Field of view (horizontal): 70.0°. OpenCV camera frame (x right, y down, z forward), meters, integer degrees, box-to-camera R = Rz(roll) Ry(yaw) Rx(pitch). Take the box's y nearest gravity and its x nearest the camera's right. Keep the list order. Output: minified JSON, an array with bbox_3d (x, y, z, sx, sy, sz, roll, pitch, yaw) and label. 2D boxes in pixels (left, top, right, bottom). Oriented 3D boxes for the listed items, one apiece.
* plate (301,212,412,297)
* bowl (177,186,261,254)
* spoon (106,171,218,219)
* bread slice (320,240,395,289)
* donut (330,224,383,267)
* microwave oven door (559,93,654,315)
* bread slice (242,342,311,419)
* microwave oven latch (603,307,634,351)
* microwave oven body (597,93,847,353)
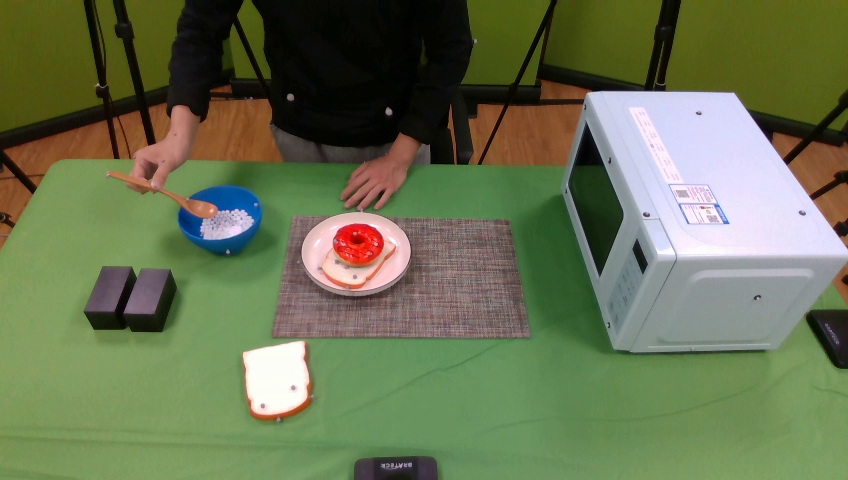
[{"bbox_3d":[-0.126,0.031,1.145,0.208,0.039,0.206,2,46,-2],"label":"plate"},{"bbox_3d":[-0.383,-0.026,1.158,0.151,0.077,0.150,2,46,-2],"label":"bowl"},{"bbox_3d":[-0.463,-0.082,1.082,0.195,0.021,0.041,28,34,-33],"label":"spoon"},{"bbox_3d":[-0.129,0.037,1.141,0.107,0.018,0.134,19,47,14],"label":"bread slice"},{"bbox_3d":[-0.125,0.010,1.127,0.099,0.048,0.098,3,45,-3],"label":"donut"},{"bbox_3d":[0.327,-0.074,1.123,0.039,0.245,0.353,-1,46,-5],"label":"microwave oven door"},{"bbox_3d":[-0.233,0.223,0.970,0.105,0.019,0.130,-10,46,-12],"label":"bread slice"},{"bbox_3d":[0.332,0.153,1.044,0.030,0.029,0.078,0,45,-4],"label":"microwave oven latch"},{"bbox_3d":[0.475,-0.041,1.109,0.326,0.261,0.438,-1,45,-4],"label":"microwave oven body"}]
